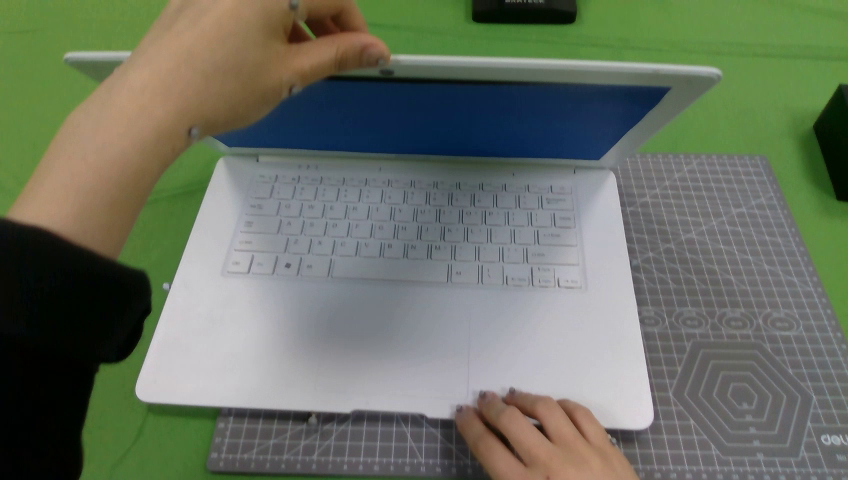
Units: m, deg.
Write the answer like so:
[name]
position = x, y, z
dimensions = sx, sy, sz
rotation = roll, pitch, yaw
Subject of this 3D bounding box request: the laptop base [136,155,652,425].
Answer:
[laptop base]
position = -0.017, 0.026, 0.478
dimensions = 0.354, 0.023, 0.233
rotation = 2, 55, 2

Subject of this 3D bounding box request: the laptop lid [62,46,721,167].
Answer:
[laptop lid]
position = -0.015, -0.084, 0.427
dimensions = 0.356, 0.242, 0.013
rotation = 2, 85, 4
